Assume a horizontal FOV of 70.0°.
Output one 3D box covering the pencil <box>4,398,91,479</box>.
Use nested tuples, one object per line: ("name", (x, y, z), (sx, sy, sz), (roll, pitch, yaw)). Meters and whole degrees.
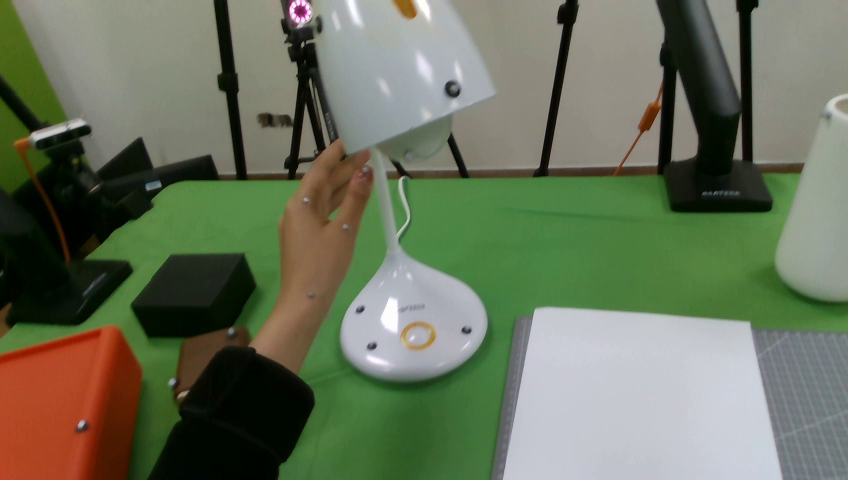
("pencil", (-0.360, 0.213, 0.513), (0.012, 0.012, 0.193), (16, 53, 33))

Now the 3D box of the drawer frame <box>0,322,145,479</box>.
("drawer frame", (-0.373, 0.191, 0.537), (0.202, 0.083, 0.211), (-16, 34, -8))

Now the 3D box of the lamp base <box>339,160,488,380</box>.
("lamp base", (-0.026, 0.021, 0.619), (0.161, 0.182, 0.177), (-16, 32, -11))

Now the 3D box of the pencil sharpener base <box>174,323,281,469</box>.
("pencil sharpener base", (-0.173, 0.139, 0.545), (0.061, 0.108, 0.076), (-15, 34, -7))

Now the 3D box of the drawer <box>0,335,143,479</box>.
("drawer", (-0.370, 0.194, 0.536), (0.195, 0.074, 0.209), (-15, 33, -8))

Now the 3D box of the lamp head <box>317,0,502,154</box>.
("lamp head", (-0.021, -0.131, 0.406), (0.112, 0.123, 0.112), (-24, 6, 3))

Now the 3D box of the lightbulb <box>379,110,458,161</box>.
("lightbulb", (-0.012, -0.107, 0.404), (0.059, 0.108, 0.059), (-12, 10, 2))

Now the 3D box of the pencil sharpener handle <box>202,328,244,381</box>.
("pencil sharpener handle", (-0.189, 0.103, 0.579), (0.036, 0.068, 0.030), (-9, 33, -11))

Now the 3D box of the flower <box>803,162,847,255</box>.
("flower", (0.386, -0.093, 0.525), (0.038, 0.365, 0.043), (-36, 54, -13))

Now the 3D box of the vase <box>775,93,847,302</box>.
("vase", (0.408, -0.038, 0.587), (0.098, 0.202, 0.097), (-7, 33, 5))
